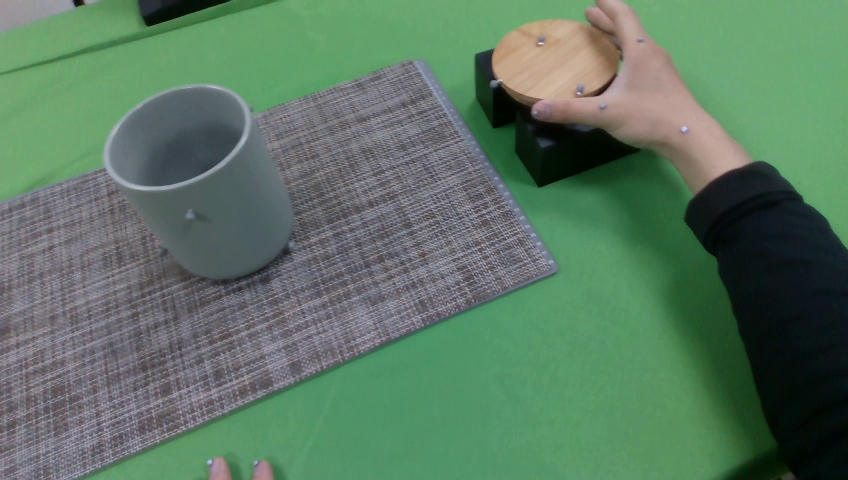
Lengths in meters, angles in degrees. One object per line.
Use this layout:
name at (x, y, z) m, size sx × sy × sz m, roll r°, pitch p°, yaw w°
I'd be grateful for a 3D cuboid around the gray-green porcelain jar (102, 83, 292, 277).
gray-green porcelain jar at (-0.167, -0.040, 0.475) m, size 0.106 × 0.128 × 0.105 m, roll -3°, pitch 55°, yaw 5°

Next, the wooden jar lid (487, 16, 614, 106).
wooden jar lid at (0.110, -0.156, 0.531) m, size 0.108 × 0.021 × 0.107 m, roll -3°, pitch 56°, yaw 5°
